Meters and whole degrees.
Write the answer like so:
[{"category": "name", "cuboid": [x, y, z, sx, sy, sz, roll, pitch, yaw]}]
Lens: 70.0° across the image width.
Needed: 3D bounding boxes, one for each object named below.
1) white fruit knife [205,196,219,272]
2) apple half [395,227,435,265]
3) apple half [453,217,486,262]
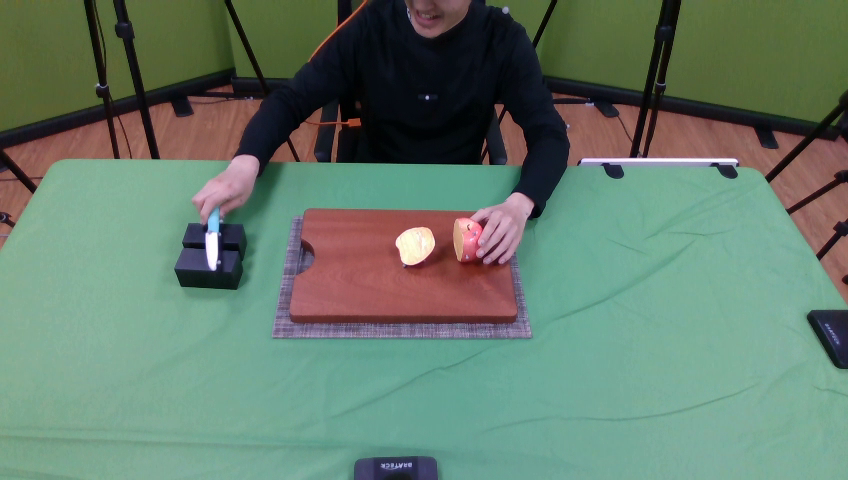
[{"category": "white fruit knife", "cuboid": [-0.385, -0.014, 1.105, 0.027, 0.016, 0.206, -21, 46, -1]}, {"category": "apple half", "cuboid": [-0.011, 0.016, 1.126, 0.081, 0.033, 0.081, -10, 56, 15]}, {"category": "apple half", "cuboid": [0.087, 0.000, 1.126, 0.053, 0.075, 0.080, -3, 43, -12]}]
